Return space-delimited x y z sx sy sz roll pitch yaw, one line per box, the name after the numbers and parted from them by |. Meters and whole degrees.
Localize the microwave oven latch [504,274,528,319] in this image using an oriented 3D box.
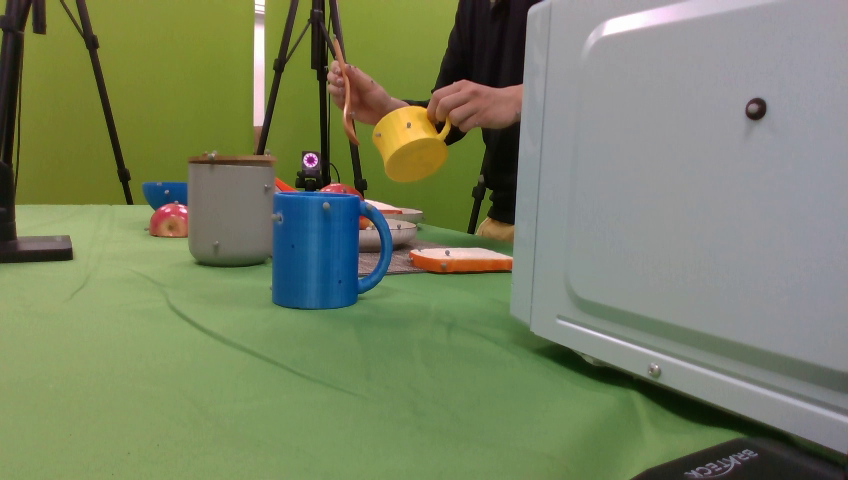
0.100 0.041 0.471 0.079 0.029 0.030 -1 7 -27 | microwave oven latch

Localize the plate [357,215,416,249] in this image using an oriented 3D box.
-0.116 -0.014 0.967 0.208 0.039 0.207 2 8 0 | plate

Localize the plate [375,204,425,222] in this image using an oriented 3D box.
-0.102 -0.053 1.299 0.209 0.038 0.209 2 8 0 | plate

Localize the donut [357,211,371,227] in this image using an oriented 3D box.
-0.132 -0.041 0.959 0.099 0.048 0.099 3 7 0 | donut

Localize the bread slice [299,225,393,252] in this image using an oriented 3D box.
-0.118 -0.004 0.969 0.106 0.018 0.135 3 14 40 | bread slice

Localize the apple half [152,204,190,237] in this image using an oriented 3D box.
-0.415 -0.034 1.017 0.081 0.053 0.074 1 10 -9 | apple half

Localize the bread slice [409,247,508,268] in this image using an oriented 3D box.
0.048 0.022 0.816 0.132 0.019 0.104 1 6 -24 | bread slice

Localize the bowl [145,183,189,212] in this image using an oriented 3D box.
-0.459 -0.069 1.175 0.151 0.077 0.151 2 7 0 | bowl

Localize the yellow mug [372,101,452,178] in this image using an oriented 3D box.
-0.010 -0.157 0.902 0.130 0.064 0.100 -36 -30 26 | yellow mug

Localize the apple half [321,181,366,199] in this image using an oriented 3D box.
-0.129 -0.077 0.952 0.081 0.033 0.081 2 14 0 | apple half

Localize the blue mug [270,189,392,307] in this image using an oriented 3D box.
-0.090 0.005 0.588 0.117 0.106 0.082 1 7 -11 | blue mug

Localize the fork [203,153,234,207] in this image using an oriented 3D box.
-0.480 -0.134 1.411 0.028 0.018 0.207 1 -35 0 | fork

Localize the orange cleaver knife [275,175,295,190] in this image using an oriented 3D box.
-0.283 -0.087 1.343 0.212 0.077 0.012 24 -16 -41 | orange cleaver knife

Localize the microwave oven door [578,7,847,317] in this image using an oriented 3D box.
0.294 -0.067 0.570 0.358 0.243 0.039 -3 9 -31 | microwave oven door

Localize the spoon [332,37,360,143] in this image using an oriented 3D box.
-0.127 -0.244 0.975 0.021 0.193 0.042 -12 -16 12 | spoon

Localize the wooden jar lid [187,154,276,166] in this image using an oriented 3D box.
-0.244 -0.097 0.771 0.108 0.020 0.108 -1 7 0 | wooden jar lid

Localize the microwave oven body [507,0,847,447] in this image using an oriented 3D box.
0.331 -0.042 0.425 0.444 0.260 0.324 -2 8 -31 | microwave oven body

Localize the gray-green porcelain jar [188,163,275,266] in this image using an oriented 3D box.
-0.246 -0.034 0.779 0.106 0.126 0.106 1 7 0 | gray-green porcelain jar
